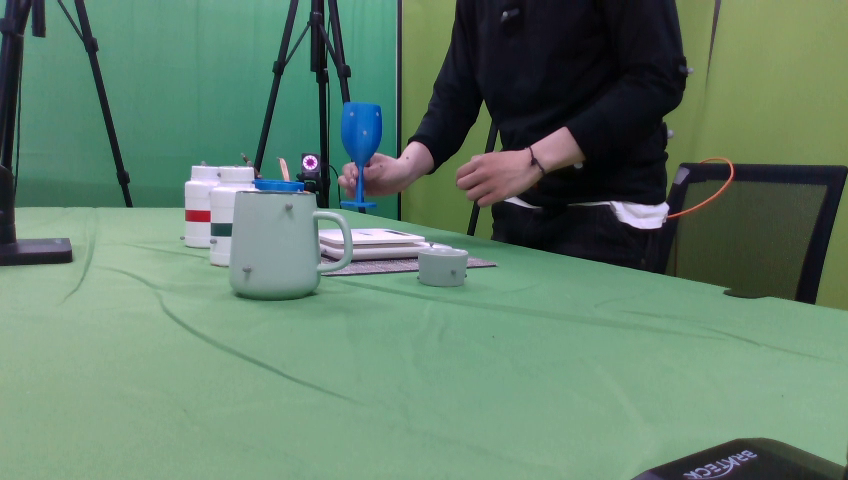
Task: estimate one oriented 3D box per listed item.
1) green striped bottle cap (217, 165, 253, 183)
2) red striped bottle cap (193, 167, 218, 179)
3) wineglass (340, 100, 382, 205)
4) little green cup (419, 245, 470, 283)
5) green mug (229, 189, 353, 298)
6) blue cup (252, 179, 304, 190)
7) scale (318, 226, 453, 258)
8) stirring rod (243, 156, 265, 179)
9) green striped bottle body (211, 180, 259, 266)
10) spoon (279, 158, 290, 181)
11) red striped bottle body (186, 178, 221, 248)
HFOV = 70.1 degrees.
[{"bbox_3d":[-0.242,-0.085,0.777,0.044,0.020,0.044,2,9,0],"label":"green striped bottle cap"},{"bbox_3d":[-0.329,-0.103,0.921,0.044,0.017,0.044,-1,9,0],"label":"red striped bottle cap"},{"bbox_3d":[-0.109,-0.147,1.032,0.074,0.172,0.073,2,6,0],"label":"wineglass"},{"bbox_3d":[0.023,0.028,0.712,0.061,0.038,0.061,2,6,0],"label":"little green cup"},{"bbox_3d":[-0.135,0.002,0.618,0.125,0.105,0.092,2,7,4],"label":"green mug"},{"bbox_3d":[-0.230,-0.041,0.929,0.093,0.100,0.092,4,7,0],"label":"blue cup"},{"bbox_3d":[-0.066,0.001,0.906,0.202,0.031,0.148,-2,8,-31],"label":"scale"},{"bbox_3d":[-0.304,-0.099,1.201,0.006,0.177,0.014,-27,38,7],"label":"stirring rod"},{"bbox_3d":[-0.243,-0.029,0.784,0.063,0.119,0.063,2,7,0],"label":"green striped bottle body"},{"bbox_3d":[-0.281,-0.103,1.251,0.042,0.193,0.021,7,-40,-30],"label":"spoon"},{"bbox_3d":[-0.331,-0.050,0.927,0.063,0.119,0.063,2,7,0],"label":"red striped bottle body"}]
